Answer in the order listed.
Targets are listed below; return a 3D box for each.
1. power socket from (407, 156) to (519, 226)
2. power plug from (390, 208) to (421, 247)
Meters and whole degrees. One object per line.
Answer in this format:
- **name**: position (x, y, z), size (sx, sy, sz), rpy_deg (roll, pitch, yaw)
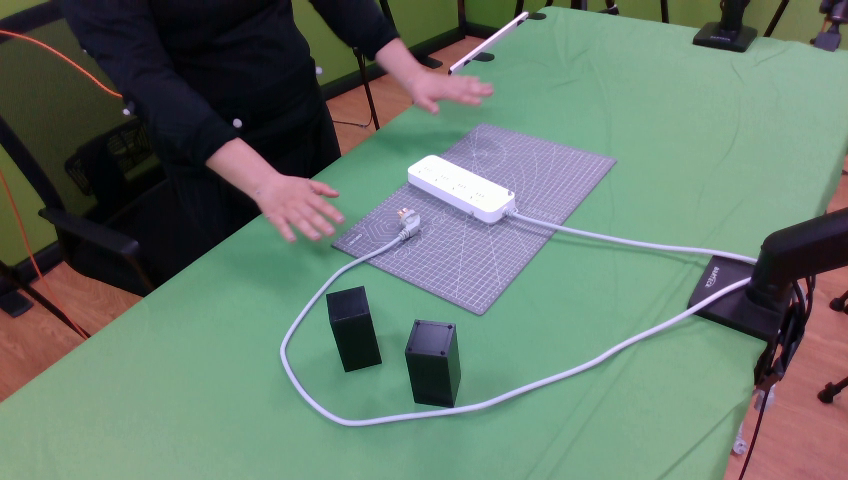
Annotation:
- **power socket**: position (0.062, -0.089, 1.053), size (0.072, 0.033, 0.225), rpy_deg (-36, 48, -29)
- **power plug**: position (-0.037, -0.027, 0.986), size (0.073, 0.035, 0.052), rpy_deg (-24, 54, -34)
